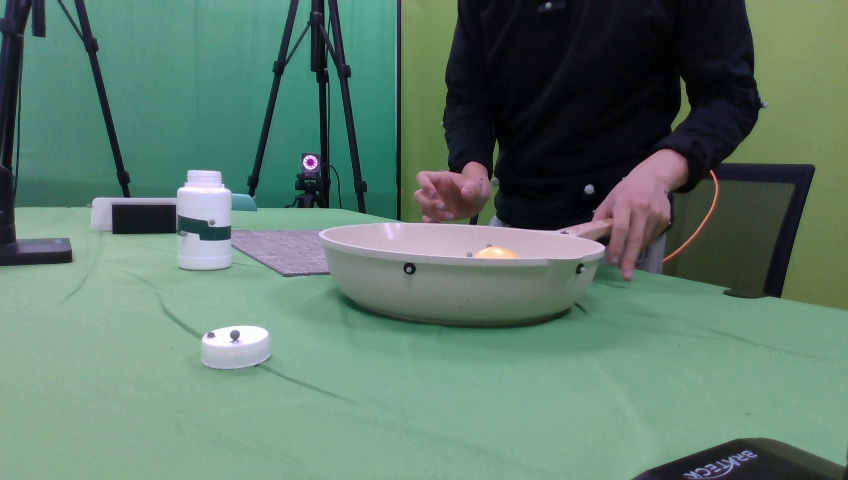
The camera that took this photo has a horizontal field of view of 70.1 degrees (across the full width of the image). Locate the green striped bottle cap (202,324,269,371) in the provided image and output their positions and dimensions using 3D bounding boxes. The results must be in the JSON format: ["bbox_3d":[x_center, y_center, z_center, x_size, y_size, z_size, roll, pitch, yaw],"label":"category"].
[{"bbox_3d":[-0.129,0.073,0.415,0.044,0.020,0.044,2,9,0],"label":"green striped bottle cap"}]

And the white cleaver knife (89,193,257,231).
[{"bbox_3d":[-0.454,-0.052,1.115,0.288,0.066,0.021,-4,15,-27],"label":"white cleaver knife"}]

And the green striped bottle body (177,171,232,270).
[{"bbox_3d":[-0.273,-0.026,0.752,0.063,0.119,0.063,2,7,0],"label":"green striped bottle body"}]

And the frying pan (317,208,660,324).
[{"bbox_3d":[0.121,0.006,0.691,0.490,0.102,0.305,-12,15,-33],"label":"frying pan"}]

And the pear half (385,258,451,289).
[{"bbox_3d":[-0.003,0.036,0.681,0.070,0.031,0.088,13,16,37],"label":"pear half"}]

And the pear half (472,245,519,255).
[{"bbox_3d":[0.071,0.032,0.653,0.077,0.056,0.109,5,2,-25],"label":"pear half"}]
